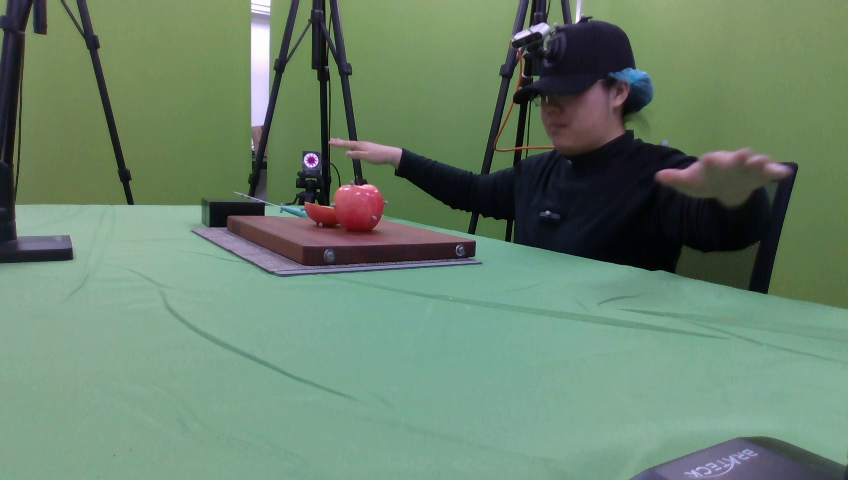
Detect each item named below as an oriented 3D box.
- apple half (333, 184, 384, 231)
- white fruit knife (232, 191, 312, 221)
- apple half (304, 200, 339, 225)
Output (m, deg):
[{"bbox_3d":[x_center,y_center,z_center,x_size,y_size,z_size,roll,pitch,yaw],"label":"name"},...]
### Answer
[{"bbox_3d":[-0.097,-0.050,0.949,0.081,0.074,0.053,1,11,-38],"label":"apple half"},{"bbox_3d":[-0.286,-0.065,1.221,0.208,0.016,0.027,18,-2,-31],"label":"white fruit knife"},{"bbox_3d":[-0.163,-0.040,1.000,0.081,0.033,0.081,15,-2,1],"label":"apple half"}]
